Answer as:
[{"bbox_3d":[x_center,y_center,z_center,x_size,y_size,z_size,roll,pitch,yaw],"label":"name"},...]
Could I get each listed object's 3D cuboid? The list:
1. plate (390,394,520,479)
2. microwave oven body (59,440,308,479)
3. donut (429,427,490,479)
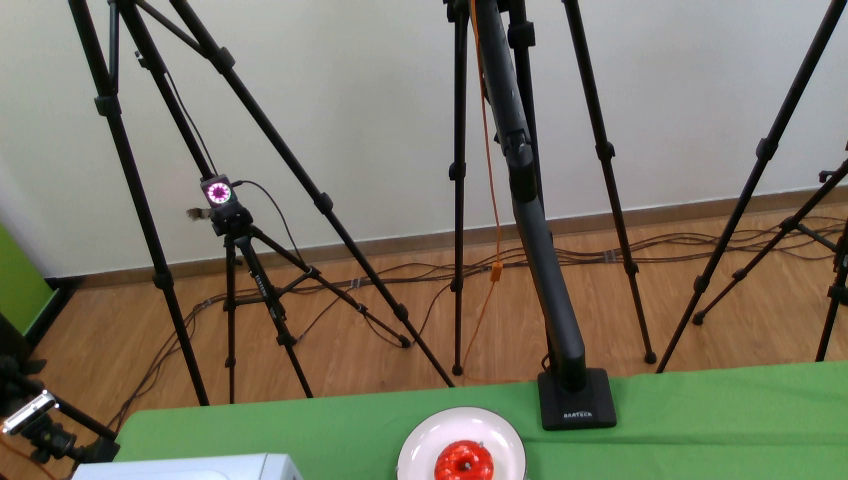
[{"bbox_3d":[0.051,0.343,0.969,0.207,0.039,0.205,-8,39,7],"label":"plate"},{"bbox_3d":[-0.322,0.501,0.706,0.325,0.263,0.437,-6,40,9],"label":"microwave oven body"},{"bbox_3d":[0.055,0.340,0.951,0.099,0.049,0.098,-11,39,9],"label":"donut"}]
